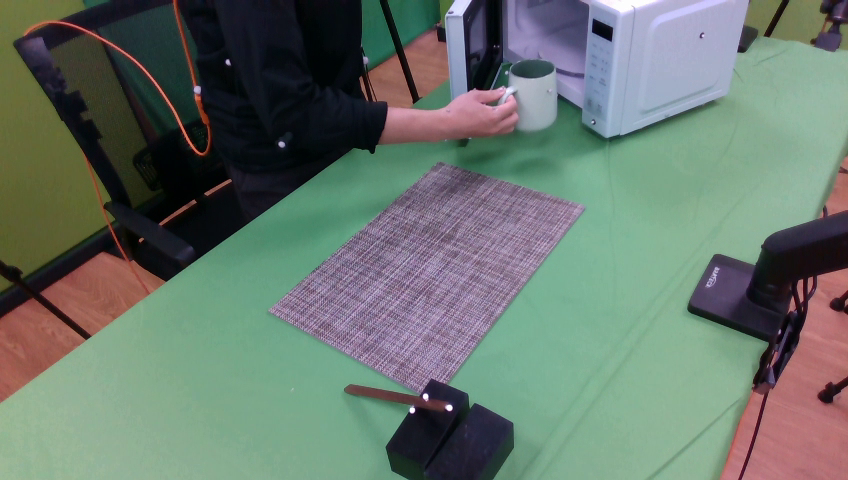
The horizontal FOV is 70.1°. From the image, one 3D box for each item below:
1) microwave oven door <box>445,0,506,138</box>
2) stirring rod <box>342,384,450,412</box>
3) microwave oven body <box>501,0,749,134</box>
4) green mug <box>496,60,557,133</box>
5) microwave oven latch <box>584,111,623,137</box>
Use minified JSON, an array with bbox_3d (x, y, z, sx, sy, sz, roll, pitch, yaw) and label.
[{"bbox_3d":[0.113,-0.406,1.230,0.039,0.245,0.355,6,43,16],"label":"microwave oven door"},{"bbox_3d":[-0.038,0.185,0.714,0.175,0.006,0.014,-3,22,43],"label":"stirring rod"},{"bbox_3d":[0.382,-0.444,1.246,0.327,0.261,0.437,-22,42,-16],"label":"microwave oven body"},{"bbox_3d":[0.177,-0.245,1.064,0.126,0.105,0.091,-31,47,-24],"label":"green mug"},{"bbox_3d":[0.337,-0.222,1.142,0.030,0.029,0.078,-21,42,-14],"label":"microwave oven latch"}]
